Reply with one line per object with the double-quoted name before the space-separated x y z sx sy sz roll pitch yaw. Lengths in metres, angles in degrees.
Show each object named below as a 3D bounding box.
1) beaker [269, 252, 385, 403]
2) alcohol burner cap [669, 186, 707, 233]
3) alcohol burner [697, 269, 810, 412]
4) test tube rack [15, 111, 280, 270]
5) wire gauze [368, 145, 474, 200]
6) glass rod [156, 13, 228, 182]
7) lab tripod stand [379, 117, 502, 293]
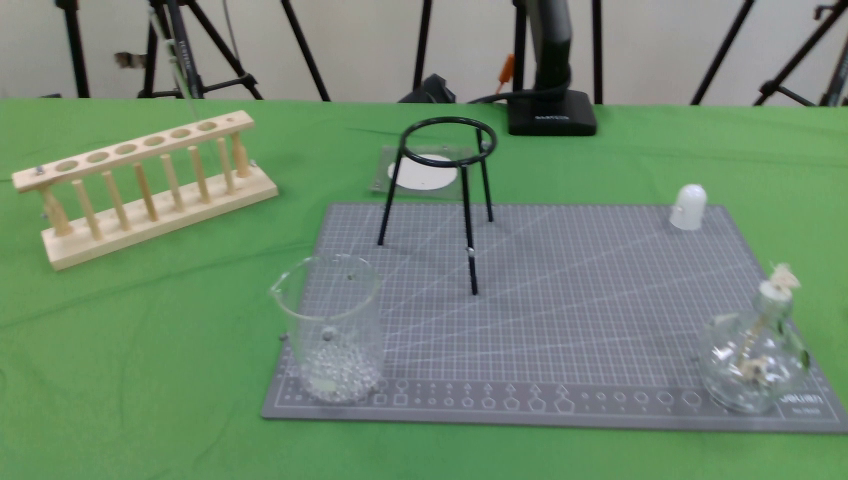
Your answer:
"beaker" -0.071 0.071 0.471 0.084 0.101 0.073 -1 38 2
"alcohol burner cap" 0.283 -0.035 0.646 0.034 0.048 0.033 0 38 1
"alcohol burner" 0.249 0.071 0.450 0.078 0.120 0.077 0 36 1
"test tube rack" -0.291 -0.060 0.663 0.243 0.086 0.066 -23 43 -26
"wire gauze" -0.001 -0.087 0.756 0.125 0.011 0.120 3 36 7
"glass rod" -0.250 -0.149 0.668 0.008 0.201 0.008 -8 37 6
"lab tripod stand" 0.022 -0.040 0.584 0.148 0.133 0.147 -2 39 2
